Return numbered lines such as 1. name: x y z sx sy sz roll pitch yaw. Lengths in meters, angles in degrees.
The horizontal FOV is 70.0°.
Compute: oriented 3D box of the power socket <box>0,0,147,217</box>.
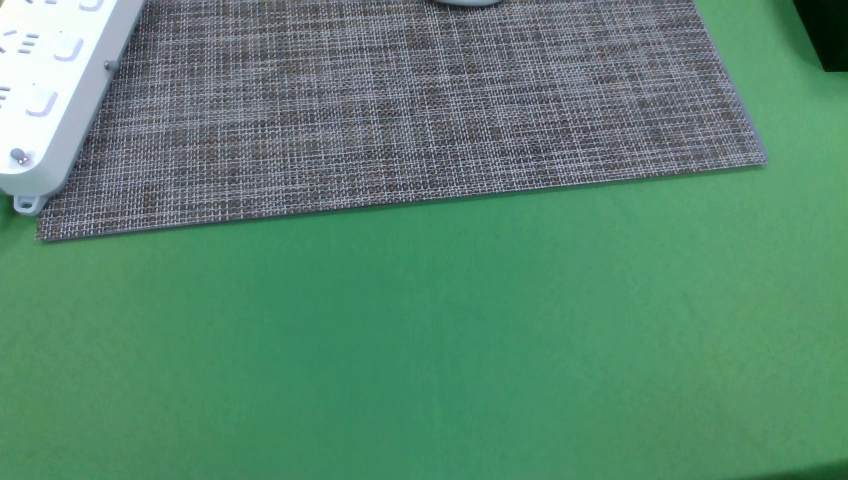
1. power socket: -0.235 -0.122 0.384 0.072 0.033 0.225 7 64 1
